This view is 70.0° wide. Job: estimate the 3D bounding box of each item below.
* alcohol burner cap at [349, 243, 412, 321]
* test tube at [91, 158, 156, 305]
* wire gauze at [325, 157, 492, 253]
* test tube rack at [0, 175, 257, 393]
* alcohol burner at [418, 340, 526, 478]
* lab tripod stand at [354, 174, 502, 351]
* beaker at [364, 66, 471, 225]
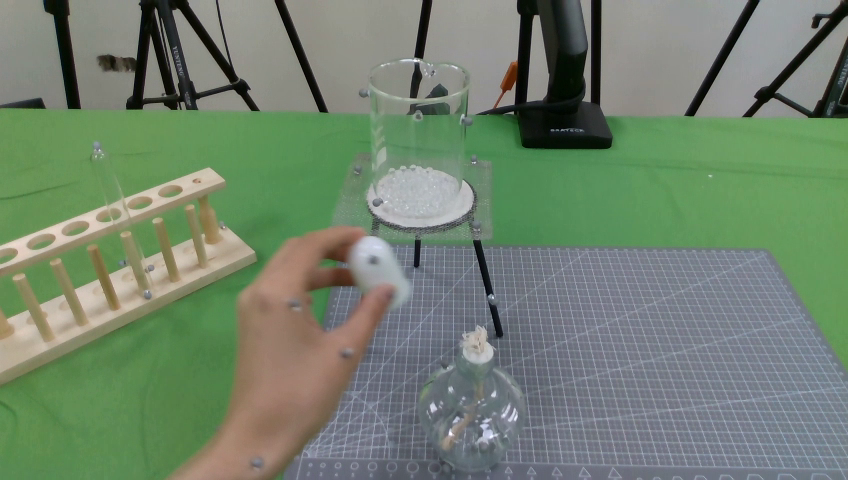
[{"bbox_3d":[-0.028,0.023,0.373,0.034,0.048,0.033,-11,40,9],"label":"alcohol burner cap"},{"bbox_3d":[-0.261,-0.004,0.529,0.017,0.151,0.017,0,36,0],"label":"test tube"},{"bbox_3d":[-0.007,-0.030,0.481,0.121,0.011,0.124,3,39,4],"label":"wire gauze"},{"bbox_3d":[-0.285,0.031,0.558,0.242,0.086,0.066,-29,45,-32],"label":"test tube rack"},{"bbox_3d":[0.034,0.111,0.421,0.078,0.120,0.077,0,39,0],"label":"alcohol burner"},{"bbox_3d":[0.002,0.022,0.522,0.148,0.132,0.147,1,36,0],"label":"lab tripod stand"},{"bbox_3d":[-0.005,-0.070,0.453,0.074,0.101,0.083,8,37,8],"label":"beaker"}]
